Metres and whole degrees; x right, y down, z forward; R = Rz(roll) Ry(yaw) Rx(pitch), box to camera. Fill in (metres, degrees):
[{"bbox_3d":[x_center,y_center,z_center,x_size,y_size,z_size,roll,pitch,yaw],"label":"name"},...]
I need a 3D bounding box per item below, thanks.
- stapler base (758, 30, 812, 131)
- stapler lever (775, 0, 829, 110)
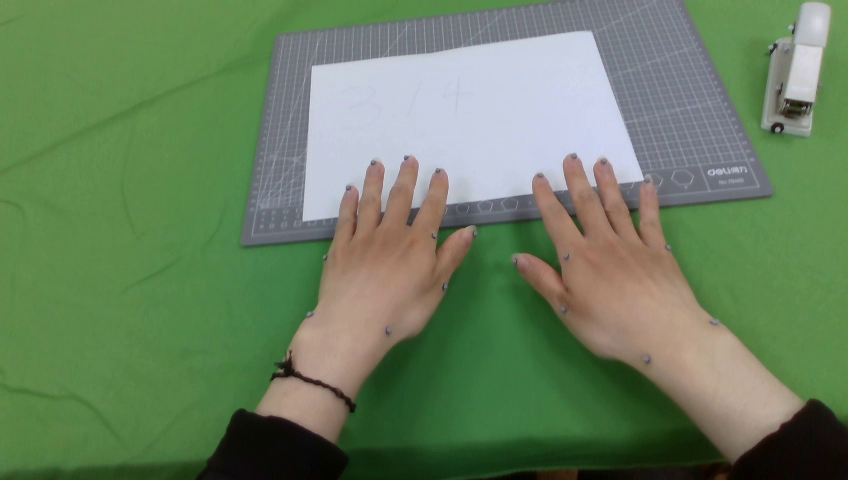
[{"bbox_3d":[0.338,-0.155,0.556,0.041,0.025,0.130,14,60,20],"label":"stapler base"},{"bbox_3d":[0.335,-0.168,0.535,0.026,0.040,0.117,14,60,20],"label":"stapler lever"}]
